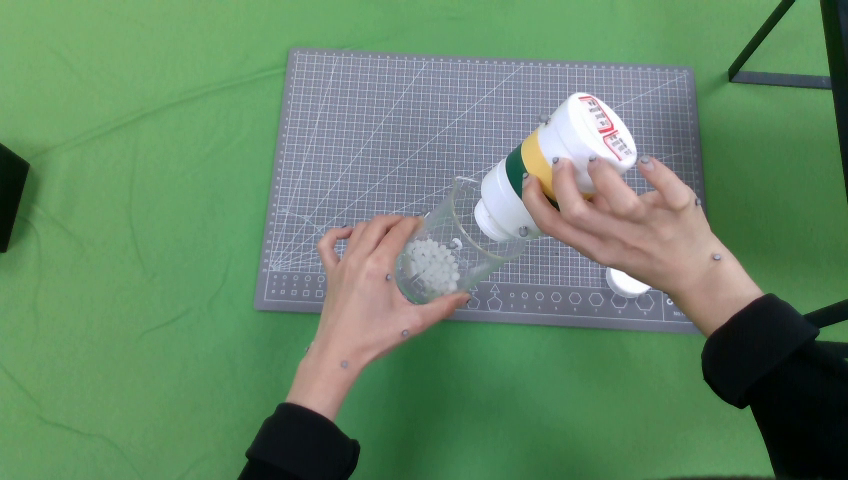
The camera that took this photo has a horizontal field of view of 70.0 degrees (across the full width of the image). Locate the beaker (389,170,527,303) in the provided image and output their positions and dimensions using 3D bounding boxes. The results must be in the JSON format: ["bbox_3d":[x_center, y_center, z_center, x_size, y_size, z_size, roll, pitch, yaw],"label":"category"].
[{"bbox_3d":[0.022,0.001,0.502,0.074,0.100,0.083,-25,78,-47],"label":"beaker"}]

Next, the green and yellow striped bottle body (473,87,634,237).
[{"bbox_3d":[0.086,-0.048,0.439,0.063,0.120,0.062,22,48,-26],"label":"green and yellow striped bottle body"}]

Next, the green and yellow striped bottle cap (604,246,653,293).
[{"bbox_3d":[0.201,0.029,0.597,0.045,0.020,0.045,0,71,0],"label":"green and yellow striped bottle cap"}]
